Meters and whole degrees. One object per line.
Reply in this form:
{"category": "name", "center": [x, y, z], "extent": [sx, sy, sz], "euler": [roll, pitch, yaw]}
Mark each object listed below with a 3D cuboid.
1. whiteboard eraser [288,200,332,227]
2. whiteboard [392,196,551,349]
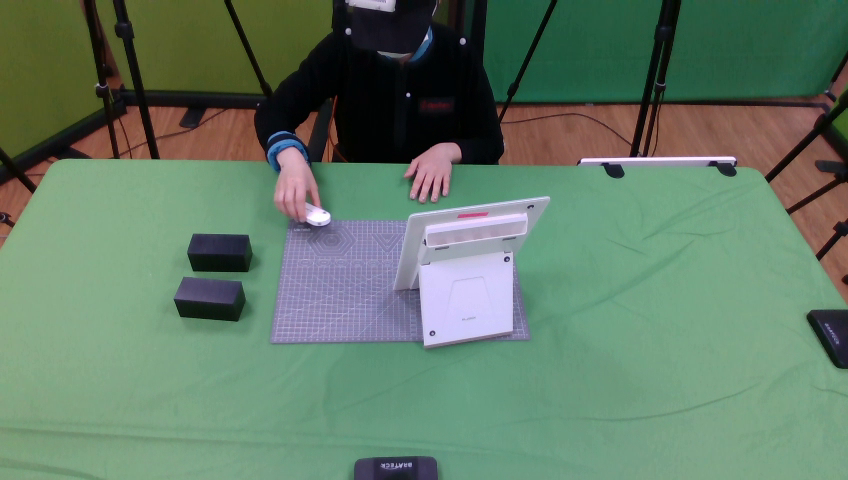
{"category": "whiteboard eraser", "center": [-0.226, -0.054, 1.196], "extent": [0.101, 0.019, 0.041], "euler": [25, 39, 28]}
{"category": "whiteboard", "center": [0.077, 0.071, 0.977], "extent": [0.217, 0.306, 0.143], "euler": [-7, 67, -11]}
